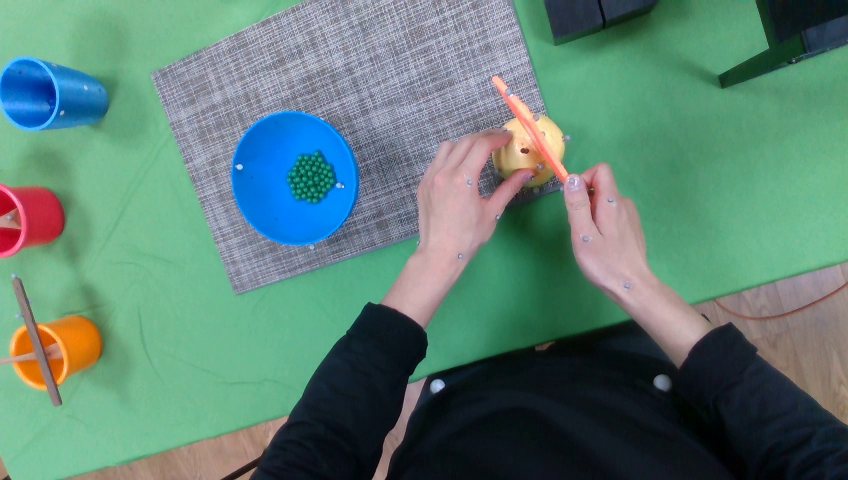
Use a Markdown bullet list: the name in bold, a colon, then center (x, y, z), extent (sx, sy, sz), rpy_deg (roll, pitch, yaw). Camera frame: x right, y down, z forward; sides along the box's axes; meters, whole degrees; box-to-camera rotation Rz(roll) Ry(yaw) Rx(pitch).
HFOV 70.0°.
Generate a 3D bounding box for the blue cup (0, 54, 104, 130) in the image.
- **blue cup**: center (-0.457, -0.179, 0.751), extent (0.092, 0.100, 0.093), rpy_deg (2, 100, 11)

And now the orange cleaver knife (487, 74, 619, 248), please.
- **orange cleaver knife**: center (0.125, -0.071, 0.576), extent (0.012, 0.076, 0.213), rpy_deg (-39, 121, 9)

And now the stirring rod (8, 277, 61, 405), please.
- **stirring rod**: center (-0.507, 0.132, 0.789), extent (0.014, 0.006, 0.176), rpy_deg (-14, 97, 12)

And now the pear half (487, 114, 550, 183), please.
- **pear half**: center (0.093, -0.091, 0.637), extent (0.056, 0.110, 0.076), rpy_deg (-38, 84, 19)

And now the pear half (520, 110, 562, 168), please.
- **pear half**: center (0.126, -0.112, 0.638), extent (0.031, 0.088, 0.070), rpy_deg (-38, 86, 17)

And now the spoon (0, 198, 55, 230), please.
- **spoon**: center (-0.590, -0.018, 0.787), extent (0.194, 0.021, 0.042), rpy_deg (-16, 98, -29)

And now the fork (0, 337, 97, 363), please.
- **fork**: center (-0.552, 0.155, 0.804), extent (0.208, 0.018, 0.028), rpy_deg (-5, 112, -31)

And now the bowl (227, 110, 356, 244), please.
- **bowl**: center (-0.143, -0.075, 0.709), extent (0.151, 0.077, 0.152), rpy_deg (2, 100, 12)
